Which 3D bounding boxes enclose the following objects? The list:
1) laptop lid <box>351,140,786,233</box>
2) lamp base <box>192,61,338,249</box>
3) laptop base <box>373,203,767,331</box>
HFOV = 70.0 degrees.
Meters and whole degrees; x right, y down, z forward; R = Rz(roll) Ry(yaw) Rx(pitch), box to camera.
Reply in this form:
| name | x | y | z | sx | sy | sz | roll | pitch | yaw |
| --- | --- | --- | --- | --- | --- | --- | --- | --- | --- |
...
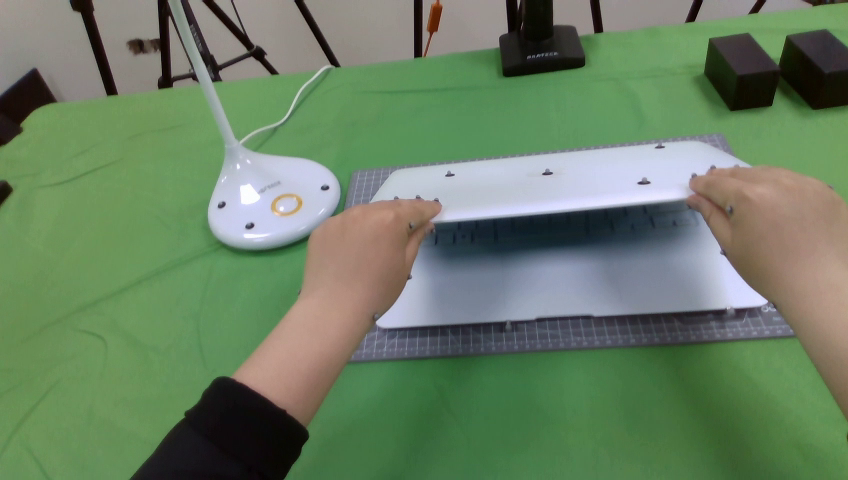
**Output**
| name | x | y | z | sx | sy | sz | roll | pitch | yaw |
| --- | --- | --- | --- | --- | --- | --- | --- | --- | --- |
| laptop lid | 0.122 | -0.060 | 0.595 | 0.356 | 0.013 | 0.240 | -4 | 19 | 9 |
| lamp base | -0.203 | -0.106 | 0.688 | 0.177 | 0.182 | 0.160 | 25 | 54 | 36 |
| laptop base | 0.131 | -0.006 | 0.628 | 0.354 | 0.023 | 0.233 | -5 | 46 | 8 |
